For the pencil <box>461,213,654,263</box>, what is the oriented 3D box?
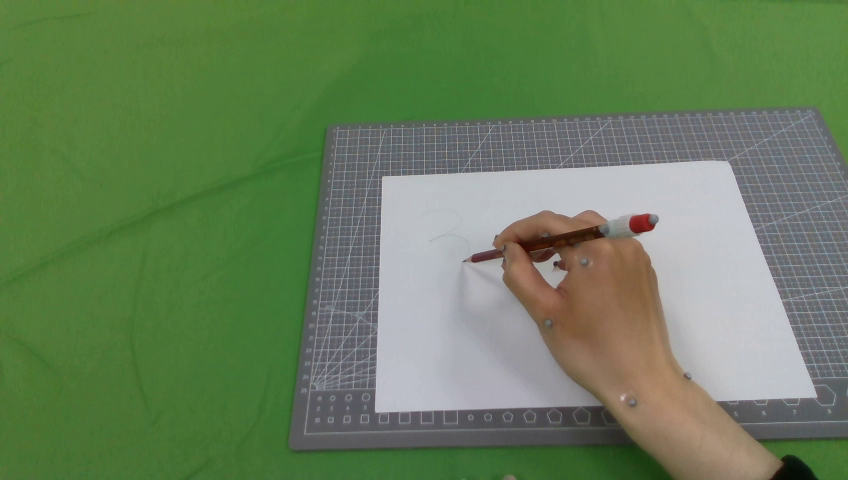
[{"bbox_3d":[0.070,0.003,0.386,0.012,0.193,0.012,4,81,-25],"label":"pencil"}]
